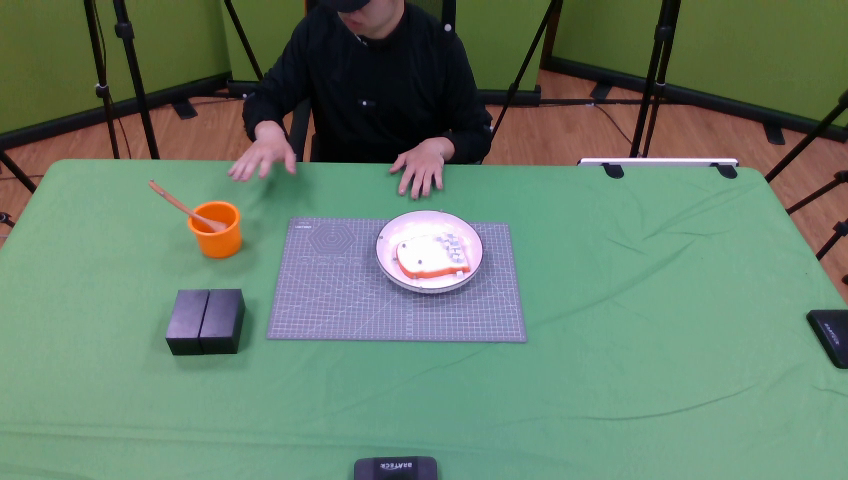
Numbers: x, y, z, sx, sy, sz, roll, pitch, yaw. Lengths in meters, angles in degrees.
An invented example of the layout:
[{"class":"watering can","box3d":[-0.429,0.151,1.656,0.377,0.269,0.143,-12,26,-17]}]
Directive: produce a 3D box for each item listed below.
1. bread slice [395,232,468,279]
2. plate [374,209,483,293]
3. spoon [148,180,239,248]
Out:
[{"class":"bread slice","box3d":[0.011,0.030,1.158,0.132,0.019,0.104,-8,47,-14]},{"class":"plate","box3d":[0.009,0.024,1.160,0.209,0.038,0.208,2,46,-2]},{"class":"spoon","box3d":[-0.422,-0.046,1.116,0.195,0.021,0.041,36,42,-26]}]
